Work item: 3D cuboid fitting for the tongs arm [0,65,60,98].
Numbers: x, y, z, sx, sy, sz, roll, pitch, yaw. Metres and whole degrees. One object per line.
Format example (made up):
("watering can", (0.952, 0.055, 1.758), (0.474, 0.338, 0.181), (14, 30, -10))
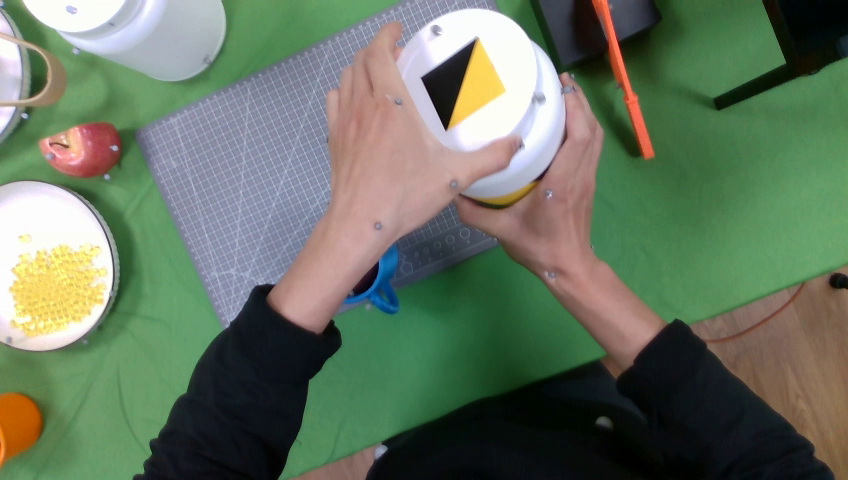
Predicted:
("tongs arm", (-0.605, -0.187, 0.694), (0.384, 0.026, 0.051), (6, 92, 6))

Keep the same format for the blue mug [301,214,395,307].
("blue mug", (-0.071, 0.026, 0.666), (0.082, 0.106, 0.116), (-39, 91, 7))

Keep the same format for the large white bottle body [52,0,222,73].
("large white bottle body", (-0.306, -0.255, 0.623), (0.130, 0.184, 0.130), (0, 94, 5))

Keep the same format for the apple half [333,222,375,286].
("apple half", (-0.070, 0.016, 0.660), (0.032, 0.081, 0.081), (10, 95, 12))

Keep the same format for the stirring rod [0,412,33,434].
("stirring rod", (-0.558, 0.242, 0.706), (0.177, 0.006, 0.014), (-17, 81, -34))

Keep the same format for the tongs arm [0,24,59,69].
("tongs arm", (-0.590, -0.269, 0.687), (0.387, 0.028, 0.028), (20, 90, 5))

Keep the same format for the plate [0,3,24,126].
("plate", (-0.570, -0.212, 0.721), (0.207, 0.039, 0.208), (0, 95, 4))

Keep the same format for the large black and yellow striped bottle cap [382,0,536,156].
("large black and yellow striped bottle cap", (0.024, -0.119, 0.440), (0.114, 0.019, 0.114), (-4, 80, 23))

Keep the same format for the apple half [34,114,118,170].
("apple half", (-0.393, -0.108, 0.699), (0.081, 0.074, 0.053), (-19, 97, 2))

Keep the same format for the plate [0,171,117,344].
("plate", (-0.468, 0.021, 0.733), (0.209, 0.038, 0.209), (0, 96, 5))

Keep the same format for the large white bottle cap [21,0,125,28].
("large white bottle cap", (-0.315, -0.249, 0.539), (0.115, 0.018, 0.115), (0, 95, 5))

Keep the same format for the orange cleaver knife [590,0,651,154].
("orange cleaver knife", (0.201, -0.191, 0.640), (0.012, 0.076, 0.213), (-21, 119, 15))

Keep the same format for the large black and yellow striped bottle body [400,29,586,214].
("large black and yellow striped bottle body", (0.058, -0.102, 0.516), (0.130, 0.185, 0.130), (-5, 78, 24))

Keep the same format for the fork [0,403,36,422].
("fork", (-0.574, 0.227, 0.704), (0.208, 0.018, 0.028), (-9, 94, -38))
